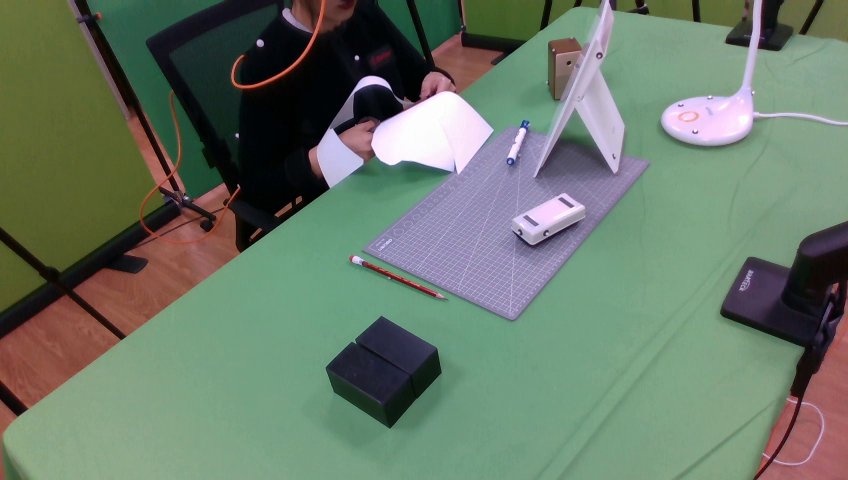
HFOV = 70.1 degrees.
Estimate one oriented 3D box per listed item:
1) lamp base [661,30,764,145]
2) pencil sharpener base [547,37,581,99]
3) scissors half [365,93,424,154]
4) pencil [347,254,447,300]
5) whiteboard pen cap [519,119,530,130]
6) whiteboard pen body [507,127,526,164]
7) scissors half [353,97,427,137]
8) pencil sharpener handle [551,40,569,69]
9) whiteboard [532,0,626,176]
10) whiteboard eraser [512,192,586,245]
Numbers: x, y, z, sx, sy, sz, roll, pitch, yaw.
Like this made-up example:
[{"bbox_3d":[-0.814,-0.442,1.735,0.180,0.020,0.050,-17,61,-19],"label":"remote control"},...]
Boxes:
[{"bbox_3d":[0.535,-0.287,1.096,0.179,0.181,0.159,-10,40,-4],"label":"lamp base"},{"bbox_3d":[0.299,-0.368,1.290,0.061,0.107,0.076,-8,40,2],"label":"pencil sharpener base"},{"bbox_3d":[-0.059,-0.240,1.248,0.040,0.175,0.013,42,25,-8],"label":"scissors half"},{"bbox_3d":[-0.044,0.058,0.933,0.192,0.012,0.012,22,49,29],"label":"pencil"},{"bbox_3d":[0.199,-0.226,1.204,0.018,0.018,0.033,7,41,18],"label":"whiteboard pen cap"},{"bbox_3d":[0.181,-0.189,1.162,0.017,0.017,0.140,7,42,19],"label":"whiteboard pen body"},{"bbox_3d":[-0.072,-0.257,1.242,0.174,0.040,0.013,-19,24,18],"label":"scissors half"},{"bbox_3d":[0.291,-0.409,1.320,0.036,0.068,0.030,2,40,-6],"label":"pencil sharpener handle"},{"bbox_3d":[0.320,-0.258,1.050,0.144,0.306,0.217,21,45,5],"label":"whiteboard"},{"bbox_3d":[0.199,-0.032,0.962,0.113,0.042,0.055,-27,43,-20],"label":"whiteboard eraser"}]
